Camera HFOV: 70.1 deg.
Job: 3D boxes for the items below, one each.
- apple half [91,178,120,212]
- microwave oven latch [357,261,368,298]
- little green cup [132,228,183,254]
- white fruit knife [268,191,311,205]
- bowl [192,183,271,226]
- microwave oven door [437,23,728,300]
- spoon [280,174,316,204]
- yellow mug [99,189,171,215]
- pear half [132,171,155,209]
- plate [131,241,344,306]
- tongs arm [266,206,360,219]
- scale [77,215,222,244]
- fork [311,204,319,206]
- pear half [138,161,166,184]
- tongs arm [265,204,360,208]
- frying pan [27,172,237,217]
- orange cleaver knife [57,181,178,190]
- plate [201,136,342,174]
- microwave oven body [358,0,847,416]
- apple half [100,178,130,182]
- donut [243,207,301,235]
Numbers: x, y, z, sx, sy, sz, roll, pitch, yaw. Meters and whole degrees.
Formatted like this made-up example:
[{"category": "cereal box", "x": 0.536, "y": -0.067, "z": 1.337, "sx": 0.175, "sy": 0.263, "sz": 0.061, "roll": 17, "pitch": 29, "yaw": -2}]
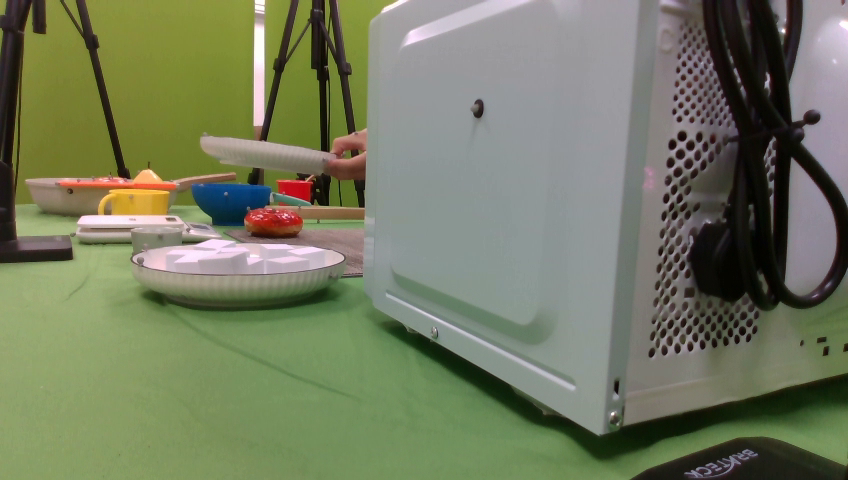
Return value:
[{"category": "apple half", "x": -0.677, "y": -0.096, "z": 1.271, "sx": 0.033, "sy": 0.081, "sz": 0.081, "roll": 7, "pitch": 8, "yaw": 10}, {"category": "microwave oven latch", "x": -0.019, "y": 0.033, "z": 0.530, "sx": 0.079, "sy": 0.029, "sz": 0.030, "roll": -1, "pitch": 7, "yaw": -26}, {"category": "little green cup", "x": -0.342, "y": 0.006, "z": 0.779, "sx": 0.061, "sy": 0.038, "sz": 0.061, "roll": 2, "pitch": 8, "yaw": 0}, {"category": "white fruit knife", "x": -0.364, "y": -0.105, "z": 1.464, "sx": 0.208, "sy": 0.027, "sz": 0.016, "roll": 15, "pitch": 0, "yaw": -34}, {"category": "bowl", "x": -0.382, "y": -0.071, "z": 1.202, "sx": 0.151, "sy": 0.077, "sz": 0.151, "roll": 3, "pitch": 7, "yaw": 0}, {"category": "microwave oven door", "x": 0.180, "y": -0.072, "z": 0.621, "sx": 0.358, "sy": 0.243, "sz": 0.039, "roll": -2, "pitch": 8, "yaw": -29}, {"category": "spoon", "x": -0.316, "y": -0.159, "z": 1.640, "sx": 0.194, "sy": 0.022, "sz": 0.041, "roll": -50, "pitch": 32, "yaw": -20}, {"category": "yellow mug", "x": -0.519, "y": -0.055, "z": 1.080, "sx": 0.099, "sy": 0.064, "sz": 0.131, "roll": 7, "pitch": 10, "yaw": 26}, {"category": "pear half", "x": -0.636, "y": -0.113, "z": 1.362, "sx": 0.031, "sy": 0.088, "sz": 0.070, "roll": 3, "pitch": 13, "yaw": 1}, {"category": "plate", "x": -0.187, "y": 0.033, "z": 0.625, "sx": 0.208, "sy": 0.039, "sz": 0.207, "roll": 2, "pitch": 7, "yaw": 0}, {"category": "tongs arm", "x": -0.174, "y": -0.060, "z": 1.363, "sx": 0.387, "sy": 0.026, "sz": 0.050, "roll": -1, "pitch": 4, "yaw": -32}, {"category": "scale", "x": -0.434, "y": -0.019, "z": 0.963, "sx": 0.202, "sy": 0.031, "sz": 0.148, "roll": -1, "pitch": 9, "yaw": -27}, {"category": "fork", "x": -0.356, "y": -0.105, "z": 1.526, "sx": 0.208, "sy": 0.018, "sz": 0.028, "roll": 16, "pitch": -6, "yaw": -41}, {"category": "pear half", "x": -0.602, "y": -0.120, "z": 1.354, "sx": 0.056, "sy": 0.110, "sz": 0.076, "roll": 4, "pitch": 11, "yaw": 5}, {"category": "tongs arm", "x": -0.212, "y": -0.068, "z": 1.440, "sx": 0.389, "sy": 0.027, "sz": 0.028, "roll": 1, "pitch": 0, "yaw": -17}, {"category": "frying pan", "x": -0.624, "y": -0.118, "z": 1.387, "sx": 0.305, "sy": 0.102, "sz": 0.490, "roll": 8, "pitch": 17, "yaw": 32}, {"category": "orange cleaver knife", "x": -0.600, "y": -0.109, "z": 1.189, "sx": 0.212, "sy": 0.012, "sz": 0.077, "roll": -1, "pitch": 11, "yaw": -26}, {"category": "plate", "x": -0.233, "y": -0.127, "z": 0.928, "sx": 0.209, "sy": 0.038, "sz": 0.209, "roll": 6, "pitch": 5, "yaw": 0}, {"category": "microwave oven body", "x": 0.211, "y": -0.047, "z": 0.474, "sx": 0.444, "sy": 0.260, "sz": 0.324, "roll": -1, "pitch": 7, "yaw": -28}, {"category": "apple half", "x": -0.638, "y": -0.093, "z": 1.265, "sx": 0.053, "sy": 0.074, "sz": 0.081, "roll": 7, "pitch": 5, "yaw": 10}, {"category": "donut", "x": -0.262, "y": -0.032, "z": 1.043, "sx": 0.099, "sy": 0.048, "sz": 0.099, "roll": 4, "pitch": 9, "yaw": 0}]
